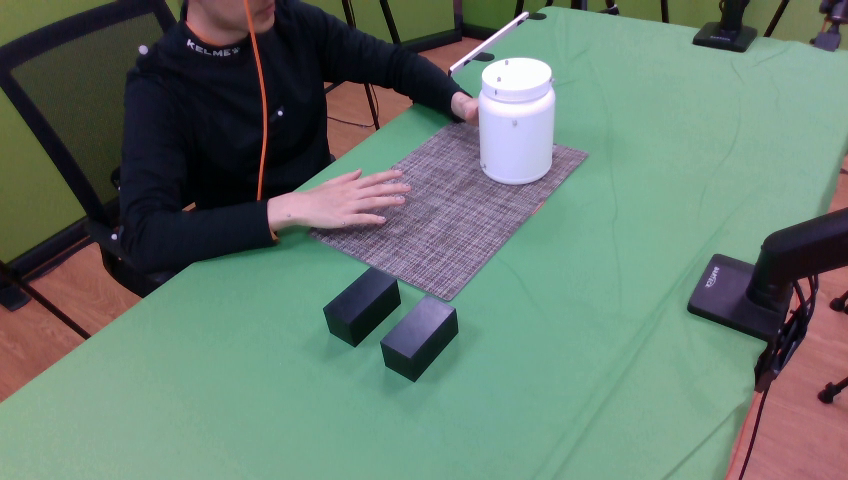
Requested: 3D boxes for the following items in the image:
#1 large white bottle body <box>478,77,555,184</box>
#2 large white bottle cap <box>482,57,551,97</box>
[{"bbox_3d":[0.161,-0.206,1.054,0.130,0.185,0.130,-4,41,4],"label":"large white bottle body"},{"bbox_3d":[0.153,-0.270,0.999,0.115,0.018,0.114,-3,41,3],"label":"large white bottle cap"}]
